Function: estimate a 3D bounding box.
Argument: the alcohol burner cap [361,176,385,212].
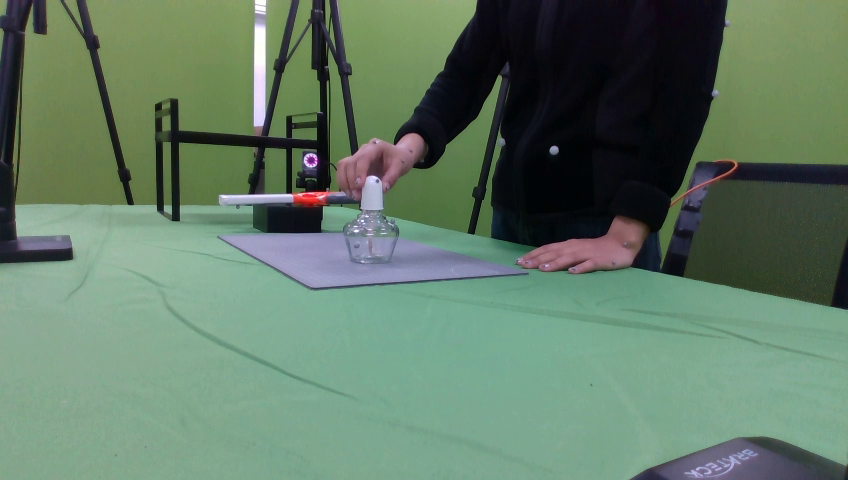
[{"bbox_3d":[-0.069,-0.062,0.814,0.034,0.048,0.034,-1,8,0],"label":"alcohol burner cap"}]

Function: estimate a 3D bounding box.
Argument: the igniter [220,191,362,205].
[{"bbox_3d":[-0.243,-0.079,1.152,0.278,0.025,0.057,-3,12,-26],"label":"igniter"}]

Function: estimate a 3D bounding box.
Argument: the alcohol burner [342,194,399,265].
[{"bbox_3d":[-0.073,-0.027,0.818,0.078,0.119,0.078,1,6,0],"label":"alcohol burner"}]
